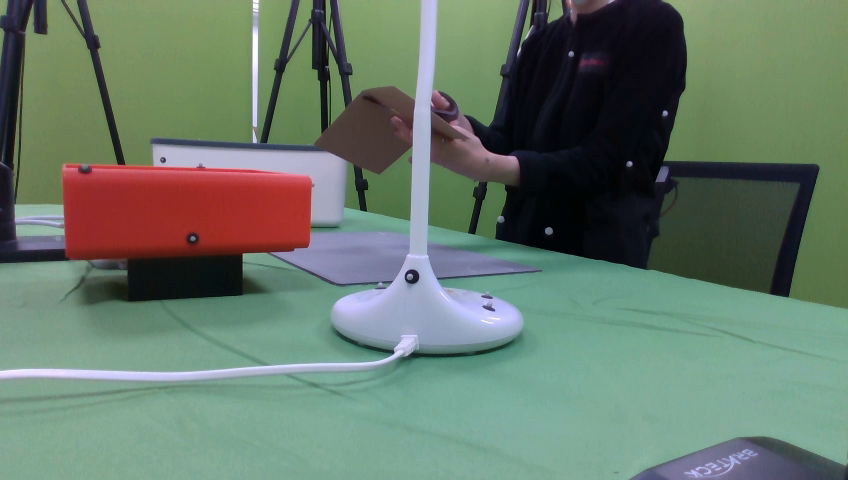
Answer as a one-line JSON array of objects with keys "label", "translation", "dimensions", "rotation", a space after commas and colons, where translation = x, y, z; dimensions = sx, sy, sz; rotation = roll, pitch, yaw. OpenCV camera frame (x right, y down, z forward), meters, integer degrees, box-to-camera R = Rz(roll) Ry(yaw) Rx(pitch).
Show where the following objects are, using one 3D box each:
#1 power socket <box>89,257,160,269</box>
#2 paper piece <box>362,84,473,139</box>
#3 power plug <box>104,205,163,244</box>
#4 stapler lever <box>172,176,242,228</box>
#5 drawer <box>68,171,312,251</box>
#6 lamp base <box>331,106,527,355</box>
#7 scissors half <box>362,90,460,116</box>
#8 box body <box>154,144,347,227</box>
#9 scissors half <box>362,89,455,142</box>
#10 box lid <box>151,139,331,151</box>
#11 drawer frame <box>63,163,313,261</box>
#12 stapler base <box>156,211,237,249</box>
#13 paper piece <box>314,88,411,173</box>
[{"label": "power socket", "translation": [-0.409, 0.004, 0.793], "dimensions": [0.072, 0.032, 0.225], "rotation": [-2, 8, -38]}, {"label": "paper piece", "translation": [-0.012, -0.181, 0.859], "dimensions": [0.139, 0.008, 0.135], "rotation": [31, -1, -26]}, {"label": "power plug", "translation": [-0.390, -0.021, 0.815], "dimensions": [0.073, 0.052, 0.035], "rotation": [-1, 7, -27]}, {"label": "stapler lever", "translation": [-0.218, -0.041, 0.618], "dimensions": [0.027, 0.040, 0.118], "rotation": [18, 11, -2]}, {"label": "drawer", "translation": [-0.247, -0.036, 0.629], "dimensions": [0.213, 0.073, 0.193], "rotation": [-2, 9, -30]}, {"label": "lamp base", "translation": [0.006, -0.012, 0.478], "dimensions": [0.161, 0.180, 0.179], "rotation": [2, 10, 2]}, {"label": "scissors half", "translation": [-0.018, -0.216, 0.940], "dimensions": [0.176, 0.040, 0.013], "rotation": [-5, 2, -33]}, {"label": "box body", "translation": [-0.357, -0.119, 1.264], "dimensions": [0.365, 0.160, 0.253], "rotation": [0, 7, -18]}, {"label": "scissors half", "translation": [-0.021, -0.195, 0.939], "dimensions": [0.176, 0.040, 0.012], "rotation": [23, -8, -32]}, {"label": "box lid", "translation": [-0.352, -0.191, 1.256], "dimensions": [0.373, 0.015, 0.262], "rotation": [0, 8, -18]}, {"label": "drawer frame", "translation": [-0.248, -0.036, 0.626], "dimensions": [0.215, 0.082, 0.200], "rotation": [-3, 9, -31]}, {"label": "stapler base", "translation": [-0.227, -0.017, 0.624], "dimensions": [0.041, 0.024, 0.130], "rotation": [18, 10, -2]}, {"label": "paper piece", "translation": [-0.084, -0.169, 0.967], "dimensions": [0.136, 0.004, 0.135], "rotation": [22, -43, -33]}]
